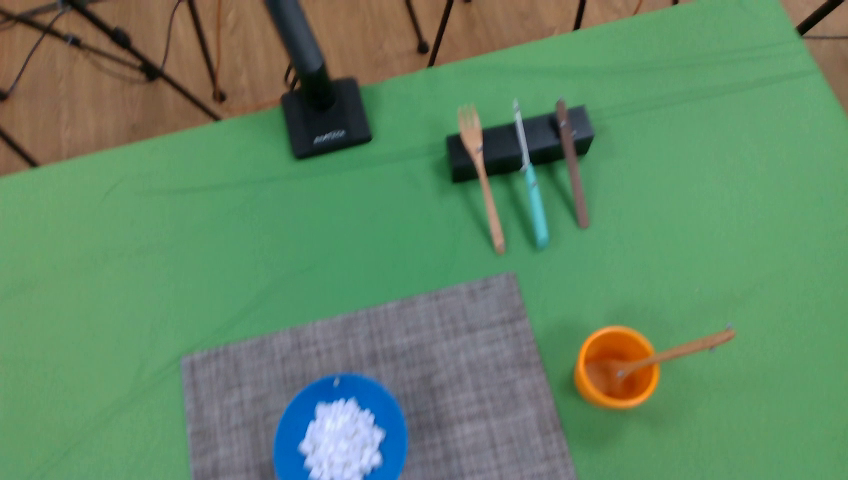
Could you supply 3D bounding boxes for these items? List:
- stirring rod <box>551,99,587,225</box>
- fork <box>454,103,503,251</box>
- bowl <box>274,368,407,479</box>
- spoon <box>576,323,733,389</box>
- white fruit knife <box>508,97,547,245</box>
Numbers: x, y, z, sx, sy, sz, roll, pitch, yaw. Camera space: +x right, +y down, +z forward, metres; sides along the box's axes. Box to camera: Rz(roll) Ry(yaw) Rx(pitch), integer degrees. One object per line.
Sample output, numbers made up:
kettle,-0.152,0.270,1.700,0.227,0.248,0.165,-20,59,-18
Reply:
stirring rod,0.199,-0.106,0.831,0.014,0.006,0.176,-13,95,5
fork,0.076,-0.085,0.825,0.028,0.018,0.207,-15,89,-7
bowl,-0.092,0.231,0.709,0.151,0.077,0.150,-1,69,2
spoon,0.261,0.133,0.701,0.022,0.193,0.041,8,61,-43
white fruit knife,0.138,-0.095,0.825,0.016,0.027,0.207,-12,85,-5
